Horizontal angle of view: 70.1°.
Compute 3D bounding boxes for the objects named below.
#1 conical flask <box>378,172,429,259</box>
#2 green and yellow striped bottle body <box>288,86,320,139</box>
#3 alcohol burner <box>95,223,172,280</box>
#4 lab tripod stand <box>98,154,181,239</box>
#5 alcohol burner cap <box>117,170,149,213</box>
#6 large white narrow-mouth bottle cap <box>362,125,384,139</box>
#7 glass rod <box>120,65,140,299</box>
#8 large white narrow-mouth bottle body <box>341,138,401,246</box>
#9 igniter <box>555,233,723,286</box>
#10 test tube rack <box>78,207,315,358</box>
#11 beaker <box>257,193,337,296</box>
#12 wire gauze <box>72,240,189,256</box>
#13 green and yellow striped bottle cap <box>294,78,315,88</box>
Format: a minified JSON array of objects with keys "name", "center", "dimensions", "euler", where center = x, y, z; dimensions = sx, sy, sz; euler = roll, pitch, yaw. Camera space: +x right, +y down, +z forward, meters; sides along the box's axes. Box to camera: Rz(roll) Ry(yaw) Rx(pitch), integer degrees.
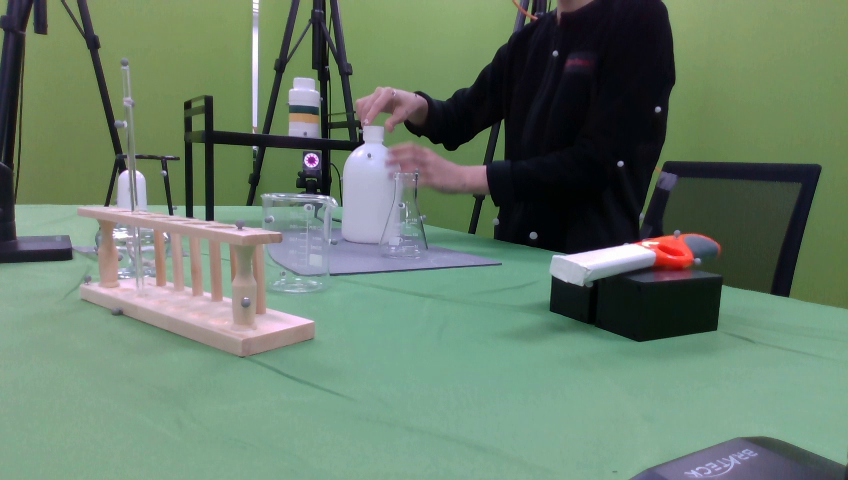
[{"name":"conical flask","center":[-0.027,-0.037,0.869],"dimensions":[0.075,0.122,0.075],"euler":[3,7,0]},{"name":"green and yellow striped bottle body","center":[-0.250,-0.272,1.261],"dimensions":[0.063,0.119,0.063],"euler":[3,7,0]},{"name":"alcohol burner","center":[-0.320,-0.016,0.667],"dimensions":[0.078,0.119,0.078],"euler":[0,7,0]},{"name":"lab tripod stand","center":[-0.427,-0.066,0.942],"dimensions":[0.148,0.131,0.148],"euler":[1,6,0]},{"name":"alcohol burner cap","center":[-0.320,-0.052,0.661],"dimensions":[0.034,0.048,0.034],"euler":[-3,0,0]},{"name":"large white narrow-mouth bottle cap","center":[-0.084,-0.179,1.004],"dimensions":[0.038,0.024,0.037],"euler":[3,9,0]},{"name":"glass rod","center":[-0.249,-0.047,0.513],"dimensions":[0.008,0.199,0.008],"euler":[-1,4,0]},{"name":"large white narrow-mouth bottle body","center":[-0.088,-0.093,1.019],"dimensions":[0.102,0.194,0.101],"euler":[3,9,0]},{"name":"igniter","center":[0.214,0.015,0.570],"dimensions":[0.278,0.025,0.057],"euler":[-5,22,-44]},{"name":"test tube rack","center":[-0.196,0.023,0.500],"dimensions":[0.241,0.085,0.067],"euler":[8,9,37]},{"name":"beaker","center":[-0.130,0.003,0.628],"dimensions":[0.084,0.100,0.074],"euler":[5,8,15]},{"name":"wire gauze","center":[-0.399,0.013,0.820],"dimensions":[0.126,0.011,0.121],"euler":[-3,8,-37]},{"name":"green and yellow striped bottle cap","center":[-0.248,-0.324,1.256],"dimensions":[0.045,0.020,0.045],"euler":[4,9,0]}]
